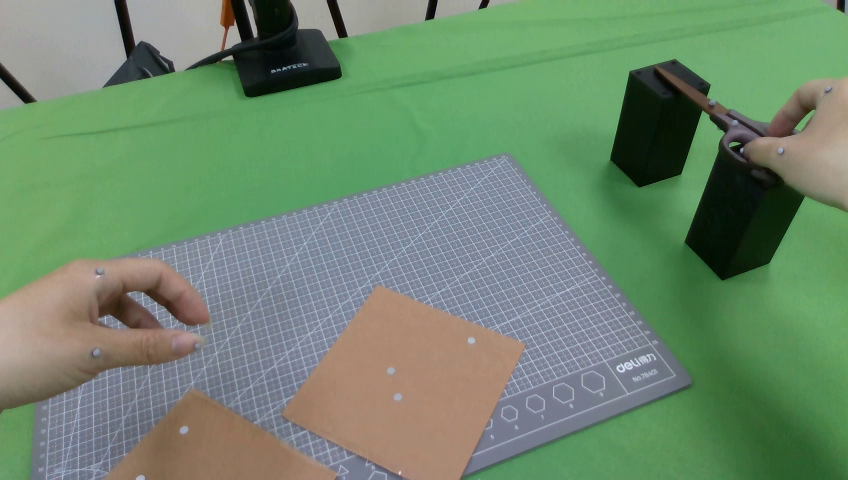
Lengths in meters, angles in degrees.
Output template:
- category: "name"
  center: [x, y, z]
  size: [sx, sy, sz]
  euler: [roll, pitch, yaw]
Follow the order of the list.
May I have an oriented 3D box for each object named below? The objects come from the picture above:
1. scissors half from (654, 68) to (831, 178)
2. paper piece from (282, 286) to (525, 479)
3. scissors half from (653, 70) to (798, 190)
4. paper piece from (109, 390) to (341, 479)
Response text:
- category: "scissors half"
  center: [0.251, -0.104, 0.494]
  size: [0.040, 0.013, 0.173]
  euler: [-27, 50, -16]
- category: "paper piece"
  center: [-0.011, 0.103, 0.445]
  size: [0.134, 0.004, 0.135]
  euler: [20, 50, 21]
- category: "scissors half"
  center: [0.233, -0.097, 0.490]
  size: [0.040, 0.013, 0.173]
  euler: [-11, 46, -9]
- category: "paper piece"
  center: [-0.146, 0.174, 0.383]
  size: [0.135, 0.009, 0.138]
  euler: [20, 51, 25]
